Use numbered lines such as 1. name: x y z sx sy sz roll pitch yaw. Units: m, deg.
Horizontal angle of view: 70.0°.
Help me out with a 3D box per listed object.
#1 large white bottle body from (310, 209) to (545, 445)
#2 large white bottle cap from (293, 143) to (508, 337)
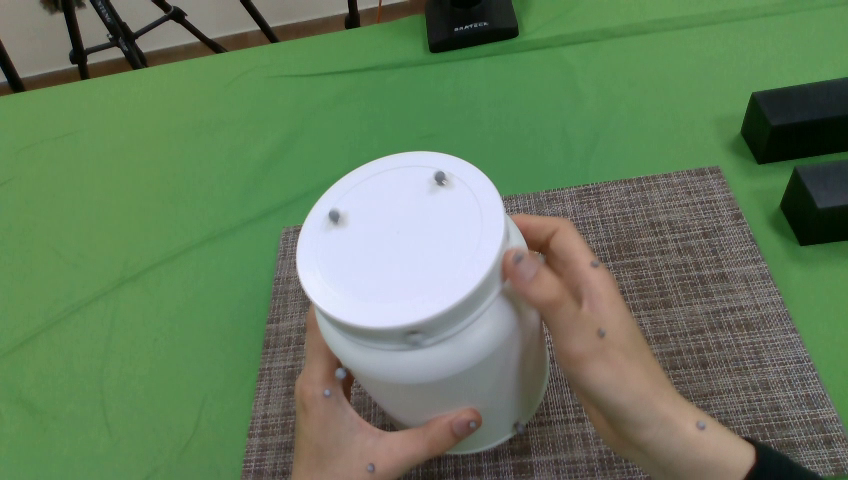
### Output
1. large white bottle body: 0.006 0.044 0.390 0.130 0.186 0.129 -8 55 11
2. large white bottle cap: -0.013 -0.004 0.321 0.114 0.018 0.113 -7 55 11
